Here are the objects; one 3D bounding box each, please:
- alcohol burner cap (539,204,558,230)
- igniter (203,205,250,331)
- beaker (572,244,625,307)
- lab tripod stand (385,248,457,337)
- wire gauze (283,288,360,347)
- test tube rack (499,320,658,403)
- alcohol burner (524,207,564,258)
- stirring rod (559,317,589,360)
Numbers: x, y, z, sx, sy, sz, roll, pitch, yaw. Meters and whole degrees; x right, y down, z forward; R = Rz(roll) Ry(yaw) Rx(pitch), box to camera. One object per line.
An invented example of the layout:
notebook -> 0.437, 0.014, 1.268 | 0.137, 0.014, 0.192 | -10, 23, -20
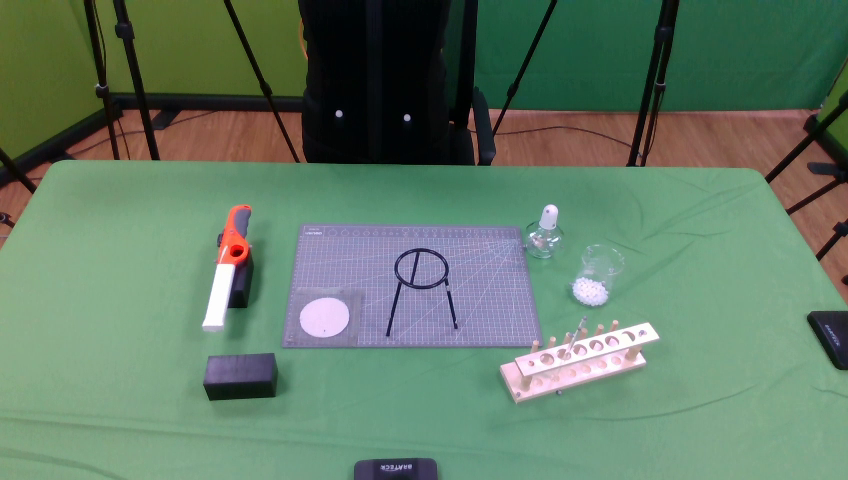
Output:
alcohol burner cap -> 0.239, -0.046, 1.148 | 0.034, 0.048, 0.033 | 2, 43, -1
igniter -> -0.345, 0.038, 1.065 | 0.057, 0.025, 0.274 | 3, 49, -6
beaker -> 0.315, 0.067, 1.105 | 0.084, 0.101, 0.073 | -9, 48, -13
lab tripod stand -> -0.010, 0.087, 1.032 | 0.148, 0.132, 0.147 | 1, 45, -1
wire gauze -> -0.178, 0.132, 1.063 | 0.125, 0.011, 0.120 | 2, 46, 1
test tube rack -> 0.252, 0.187, 0.994 | 0.243, 0.085, 0.066 | -12, 48, -15
alcohol burner -> 0.236, -0.021, 1.174 | 0.078, 0.120, 0.077 | 1, 48, -1
stirring rod -> 0.221, 0.155, 0.912 | 0.014, 0.177, 0.006 | 5, 58, 2
